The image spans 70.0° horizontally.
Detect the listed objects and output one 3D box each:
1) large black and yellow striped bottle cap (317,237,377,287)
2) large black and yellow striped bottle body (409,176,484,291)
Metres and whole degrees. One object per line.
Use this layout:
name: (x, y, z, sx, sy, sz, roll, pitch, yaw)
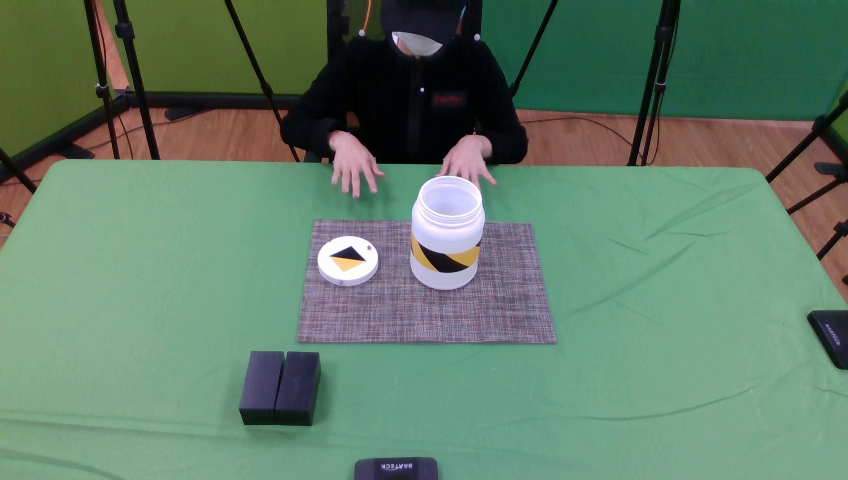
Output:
large black and yellow striped bottle cap: (-0.146, 0.040, 1.148, 0.115, 0.019, 0.114, 2, 47, -2)
large black and yellow striped bottle body: (0.040, -0.012, 1.095, 0.131, 0.185, 0.130, 2, 46, -2)
